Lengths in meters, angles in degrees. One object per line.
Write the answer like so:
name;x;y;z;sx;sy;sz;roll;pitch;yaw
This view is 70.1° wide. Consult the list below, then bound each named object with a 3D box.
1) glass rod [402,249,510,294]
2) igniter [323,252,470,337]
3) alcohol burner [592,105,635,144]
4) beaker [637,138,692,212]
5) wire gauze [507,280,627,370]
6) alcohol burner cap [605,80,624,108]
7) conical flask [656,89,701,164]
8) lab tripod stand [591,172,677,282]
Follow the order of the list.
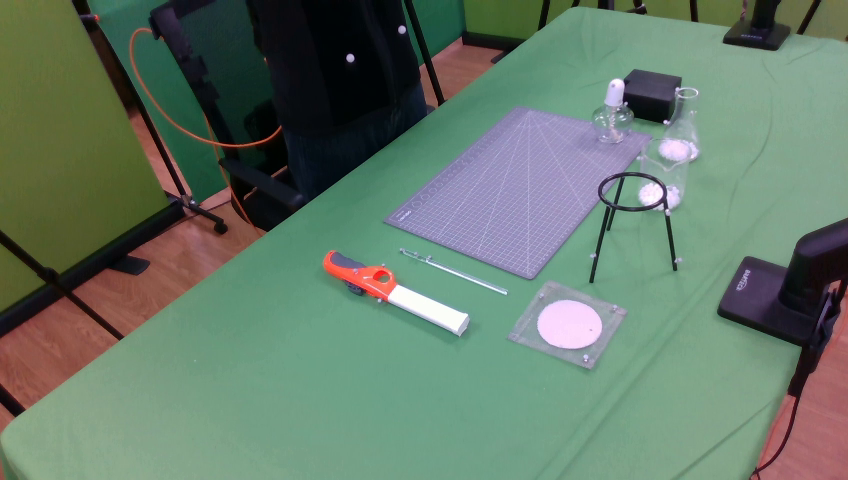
glass rod;0.045;0.046;0.931;0.198;0.008;0.008;20;49;31
igniter;-0.052;0.075;0.901;0.274;0.025;0.057;22;60;32
alcohol burner;0.353;-0.242;1.126;0.078;0.119;0.077;-5;38;5
beaker;0.383;-0.100;0.970;0.074;0.101;0.084;2;42;14
wire gauze;0.196;0.114;0.823;0.120;0.011;0.125;20;50;31
alcohol burner cap;0.350;-0.269;1.102;0.034;0.048;0.033;-2;45;3
conical flask;0.452;-0.201;1.057;0.075;0.122;0.075;-6;40;5
lab tripod stand;0.292;-0.022;0.867;0.148;0.132;0.147;-7;39;6
